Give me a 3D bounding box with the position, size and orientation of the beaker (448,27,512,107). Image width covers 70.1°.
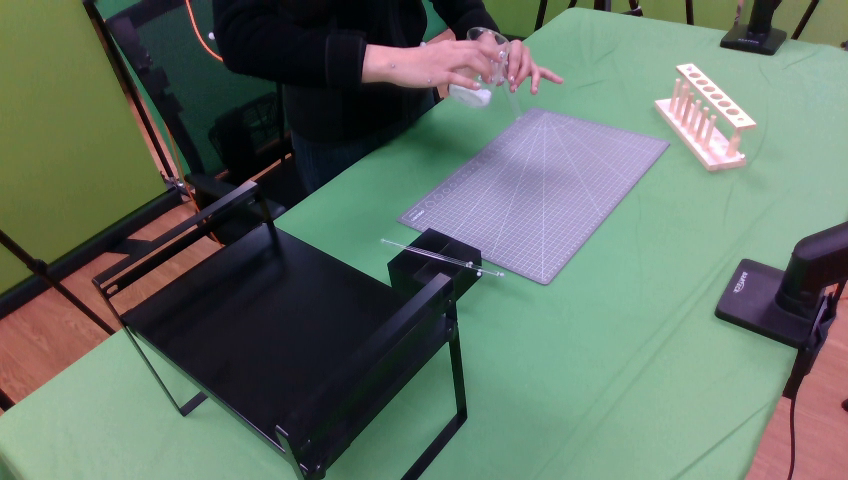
[{"bbox_3d":[0.085,-0.265,0.940,0.073,0.084,0.100,19,84,26],"label":"beaker"}]

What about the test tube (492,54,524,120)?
[{"bbox_3d":[0.146,-0.259,1.036,0.017,0.151,0.017,-12,55,19],"label":"test tube"}]

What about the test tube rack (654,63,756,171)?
[{"bbox_3d":[0.510,-0.233,1.120,0.067,0.085,0.241,-8,41,-1],"label":"test tube rack"}]

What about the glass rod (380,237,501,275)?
[{"bbox_3d":[0.020,0.023,0.881,0.198,0.008,0.008,16,46,25],"label":"glass rod"}]
